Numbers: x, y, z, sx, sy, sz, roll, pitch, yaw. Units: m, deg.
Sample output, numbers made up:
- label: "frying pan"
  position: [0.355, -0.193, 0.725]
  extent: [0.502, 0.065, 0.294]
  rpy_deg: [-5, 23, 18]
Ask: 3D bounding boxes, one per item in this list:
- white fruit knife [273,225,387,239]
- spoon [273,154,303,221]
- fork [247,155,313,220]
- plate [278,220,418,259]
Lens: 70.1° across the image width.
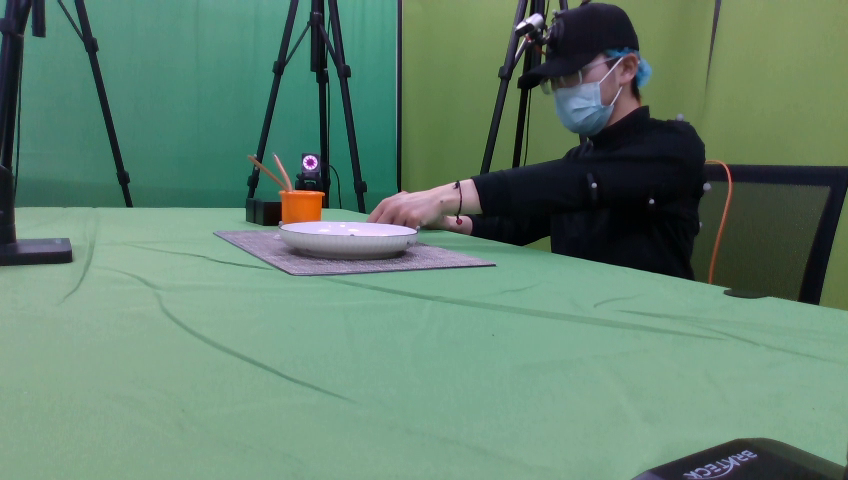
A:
- label: "white fruit knife"
  position: [-0.158, -0.012, 1.055]
  extent: [0.208, 0.016, 0.027]
  rpy_deg: [-5, -29, -26]
- label: "spoon"
  position: [-0.280, -0.107, 1.247]
  extent: [0.021, 0.193, 0.042]
  rpy_deg: [-28, -29, 9]
- label: "fork"
  position: [-0.275, -0.096, 1.188]
  extent: [0.028, 0.018, 0.208]
  rpy_deg: [27, -20, 48]
- label: "plate"
  position: [-0.114, -0.002, 0.914]
  extent: [0.209, 0.038, 0.209]
  rpy_deg: [2, 7, 0]
